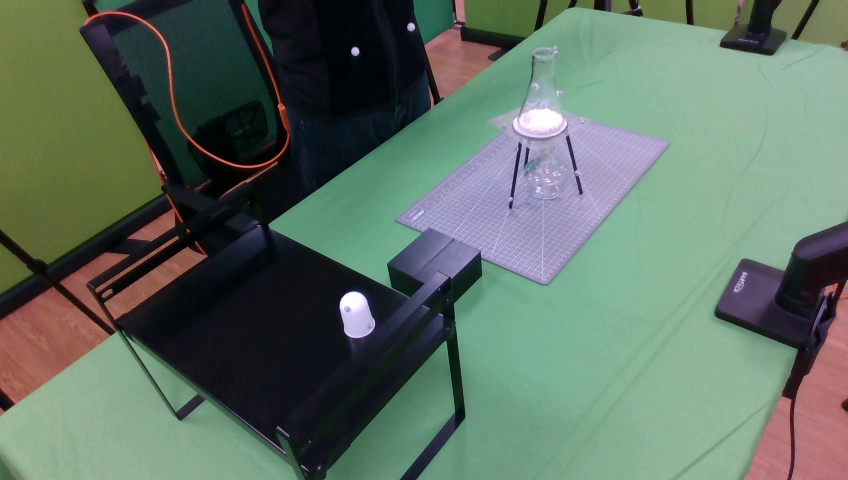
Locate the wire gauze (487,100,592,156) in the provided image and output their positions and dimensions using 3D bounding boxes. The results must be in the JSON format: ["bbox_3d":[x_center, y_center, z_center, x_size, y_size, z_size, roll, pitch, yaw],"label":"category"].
[{"bbox_3d":[0.185,-0.187,0.974,0.122,0.011,0.124,-28,47,-22],"label":"wire gauze"}]

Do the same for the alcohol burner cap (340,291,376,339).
[{"bbox_3d":[-0.067,0.072,0.605,0.034,0.048,0.033,-5,41,5],"label":"alcohol burner cap"}]

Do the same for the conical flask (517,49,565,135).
[{"bbox_3d":[0.183,-0.231,0.936,0.075,0.122,0.075,-4,40,4],"label":"conical flask"}]

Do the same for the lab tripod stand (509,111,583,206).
[{"bbox_3d":[0.198,-0.139,1.019,0.148,0.132,0.147,-3,39,3],"label":"lab tripod stand"}]

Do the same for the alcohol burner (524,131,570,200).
[{"bbox_3d":[0.208,-0.129,1.021,0.078,0.119,0.077,-4,39,4],"label":"alcohol burner"}]
